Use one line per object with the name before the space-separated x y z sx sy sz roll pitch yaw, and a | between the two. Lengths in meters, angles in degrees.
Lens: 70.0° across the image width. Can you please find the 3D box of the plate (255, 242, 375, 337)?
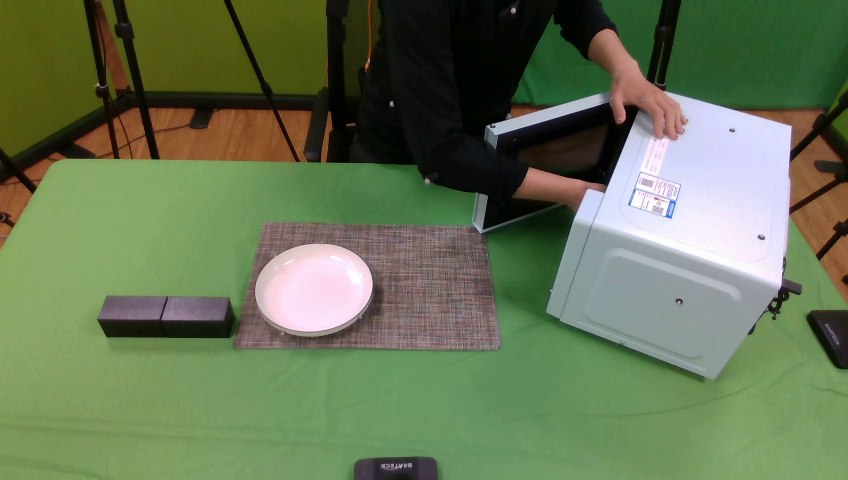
plate | -0.192 0.090 1.079 0.208 0.039 0.206 2 46 -2

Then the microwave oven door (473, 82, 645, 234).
microwave oven door | 0.266 -0.163 1.196 0.356 0.245 0.039 -20 49 -21

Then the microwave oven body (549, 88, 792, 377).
microwave oven body | 0.456 -0.028 1.088 0.325 0.261 0.440 20 47 16

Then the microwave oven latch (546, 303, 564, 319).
microwave oven latch | 0.242 0.102 1.081 0.030 0.029 0.079 22 48 17
